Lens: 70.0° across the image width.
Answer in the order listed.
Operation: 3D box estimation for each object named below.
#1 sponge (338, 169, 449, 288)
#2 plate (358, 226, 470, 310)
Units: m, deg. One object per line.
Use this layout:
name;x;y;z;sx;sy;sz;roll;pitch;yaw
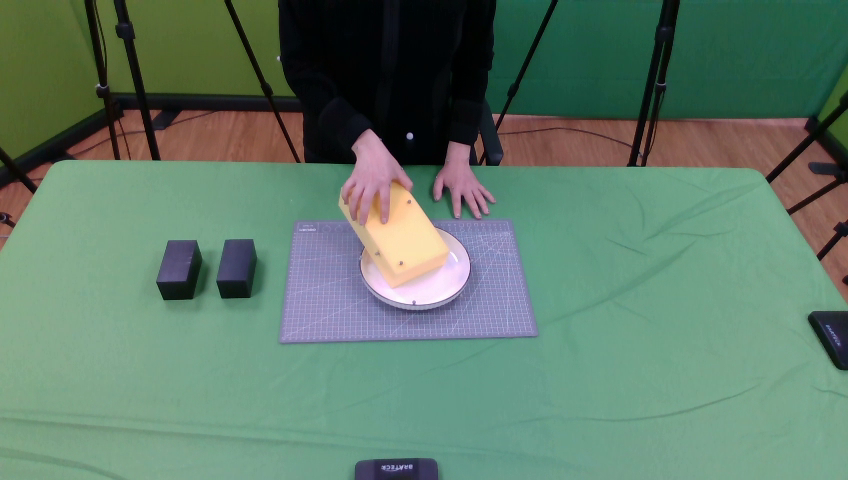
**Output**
sponge;-0.061;-0.025;1.141;0.118;0.061;0.206;-25;68;-25
plate;-0.019;0.052;1.132;0.209;0.038;0.208;2;46;-2
